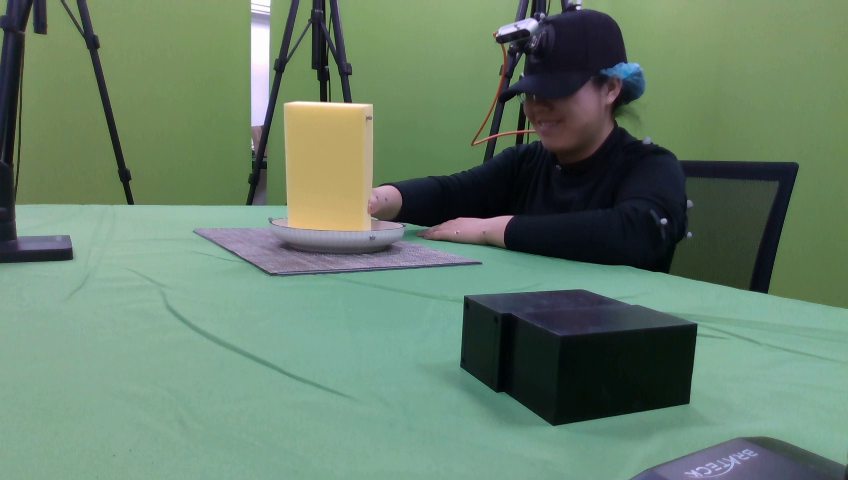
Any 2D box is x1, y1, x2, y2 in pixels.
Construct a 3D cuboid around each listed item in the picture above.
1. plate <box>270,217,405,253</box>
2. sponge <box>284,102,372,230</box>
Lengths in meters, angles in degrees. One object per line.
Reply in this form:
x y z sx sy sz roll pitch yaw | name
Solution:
-0.134 -0.009 0.946 0.208 0.039 0.207 3 7 0 | plate
-0.142 -0.100 0.907 0.118 0.206 0.061 5 17 6 | sponge
